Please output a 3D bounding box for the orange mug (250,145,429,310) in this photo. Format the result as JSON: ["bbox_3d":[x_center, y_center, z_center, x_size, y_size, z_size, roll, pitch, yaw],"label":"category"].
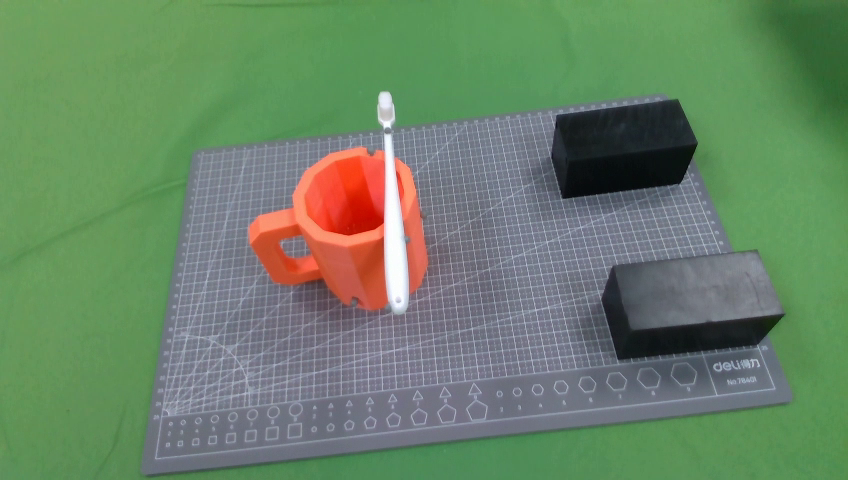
[{"bbox_3d":[-0.060,-0.003,0.453,0.126,0.101,0.082,-11,57,-7],"label":"orange mug"}]

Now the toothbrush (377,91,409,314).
[{"bbox_3d":[-0.021,-0.033,0.406,0.014,0.017,0.180,0,57,-8],"label":"toothbrush"}]
